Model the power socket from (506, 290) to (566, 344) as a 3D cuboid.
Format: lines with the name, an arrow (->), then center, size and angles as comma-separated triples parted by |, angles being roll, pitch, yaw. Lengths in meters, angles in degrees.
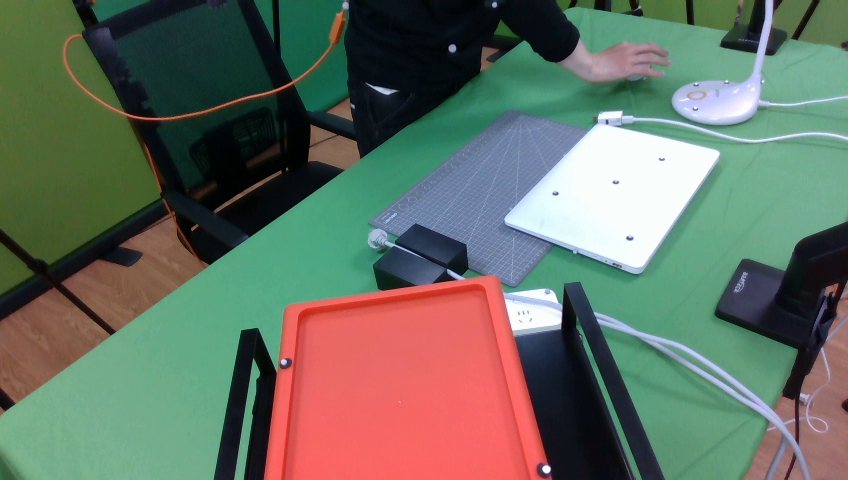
power socket -> 0.081, 0.112, 0.822 | 0.227, 0.033, 0.072 | -7, 41, 0

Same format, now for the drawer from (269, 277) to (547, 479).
drawer -> -0.018, 0.137, 0.493 | 0.195, 0.073, 0.210 | -7, 41, -1

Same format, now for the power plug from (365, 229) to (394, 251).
power plug -> -0.067, 0.010, 0.954 | 0.035, 0.053, 0.072 | -41, 52, 1

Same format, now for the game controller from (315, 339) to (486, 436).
game controller -> -0.021, 0.119, 0.534 | 0.155, 0.052, 0.096 | -3, 39, 1

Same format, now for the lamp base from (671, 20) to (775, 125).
lamp base -> 0.581, -0.332, 1.154 | 0.179, 0.181, 0.160 | 2, 41, 7

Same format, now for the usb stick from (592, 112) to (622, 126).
usb stick -> 0.361, -0.239, 1.197 | 0.059, 0.021, 0.027 | 4, 42, 27

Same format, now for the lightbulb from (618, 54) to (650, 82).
lightbulb -> 0.465, -0.377, 1.320 | 0.059, 0.059, 0.108 | 25, 31, 32

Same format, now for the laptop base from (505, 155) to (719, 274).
laptop base -> 0.326, -0.083, 1.028 | 0.233, 0.023, 0.355 | 21, 48, 32

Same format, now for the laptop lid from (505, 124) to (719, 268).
laptop lid -> 0.323, -0.093, 1.021 | 0.240, 0.013, 0.358 | 23, 49, 32

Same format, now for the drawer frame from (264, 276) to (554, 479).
drawer frame -> -0.016, 0.137, 0.490 | 0.202, 0.083, 0.212 | -8, 41, -2
